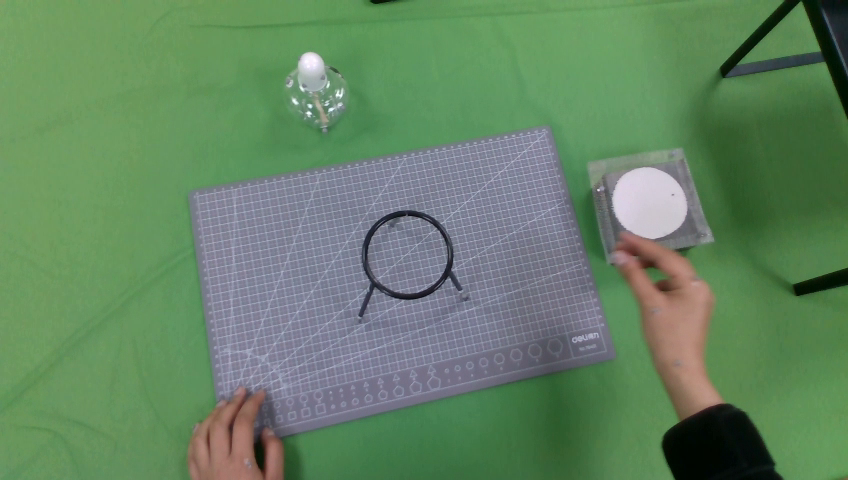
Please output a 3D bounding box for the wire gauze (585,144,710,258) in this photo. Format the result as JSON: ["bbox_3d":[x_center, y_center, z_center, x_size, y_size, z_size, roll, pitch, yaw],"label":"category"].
[{"bbox_3d":[0.255,-0.048,0.698,0.121,0.011,0.124,-9,76,-3],"label":"wire gauze"}]

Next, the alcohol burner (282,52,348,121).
[{"bbox_3d":[-0.127,-0.187,0.702,0.078,0.119,0.077,1,76,-5],"label":"alcohol burner"}]

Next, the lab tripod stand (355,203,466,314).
[{"bbox_3d":[-0.017,0.022,0.647,0.148,0.132,0.147,1,75,-5],"label":"lab tripod stand"}]

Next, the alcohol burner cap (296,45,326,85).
[{"bbox_3d":[-0.126,-0.195,0.668,0.034,0.048,0.033,1,81,-8],"label":"alcohol burner cap"}]
